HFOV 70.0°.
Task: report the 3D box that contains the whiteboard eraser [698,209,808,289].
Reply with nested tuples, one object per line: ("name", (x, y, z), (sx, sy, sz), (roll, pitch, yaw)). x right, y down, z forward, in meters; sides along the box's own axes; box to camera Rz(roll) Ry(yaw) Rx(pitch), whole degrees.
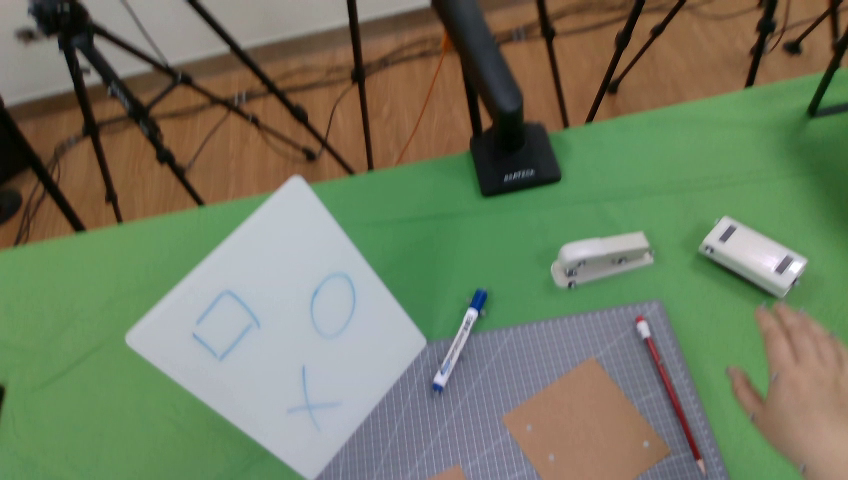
("whiteboard eraser", (0.403, 0.012, 0.747), (0.111, 0.042, 0.055), (37, 73, 27))

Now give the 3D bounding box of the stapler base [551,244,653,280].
("stapler base", (0.231, 0.016, 0.789), (0.130, 0.024, 0.041), (-16, 60, -1))

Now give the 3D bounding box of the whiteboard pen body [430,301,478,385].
("whiteboard pen body", (0.043, 0.118, 0.763), (0.017, 0.017, 0.140), (18, 63, 21))

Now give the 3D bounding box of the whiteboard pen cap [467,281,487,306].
("whiteboard pen cap", (0.069, 0.071, 0.786), (0.018, 0.018, 0.033), (16, 63, 20))

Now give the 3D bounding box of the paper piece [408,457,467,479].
("paper piece", (0.002, 0.324, 0.650), (0.135, 0.004, 0.134), (-23, 59, -5))

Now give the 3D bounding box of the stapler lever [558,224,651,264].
("stapler lever", (0.229, 0.003, 0.769), (0.118, 0.040, 0.026), (-16, 60, 0))

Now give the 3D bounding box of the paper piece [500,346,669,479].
("paper piece", (0.178, 0.211, 0.686), (0.136, 0.009, 0.137), (-33, 60, -4))

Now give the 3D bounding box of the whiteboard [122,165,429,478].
("whiteboard", (-0.168, 0.083, 0.691), (0.217, 0.309, 0.142), (-48, 41, -17))

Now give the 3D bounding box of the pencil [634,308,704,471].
("pencil", (0.279, 0.165, 0.693), (0.012, 0.012, 0.192), (-14, 60, 2))
